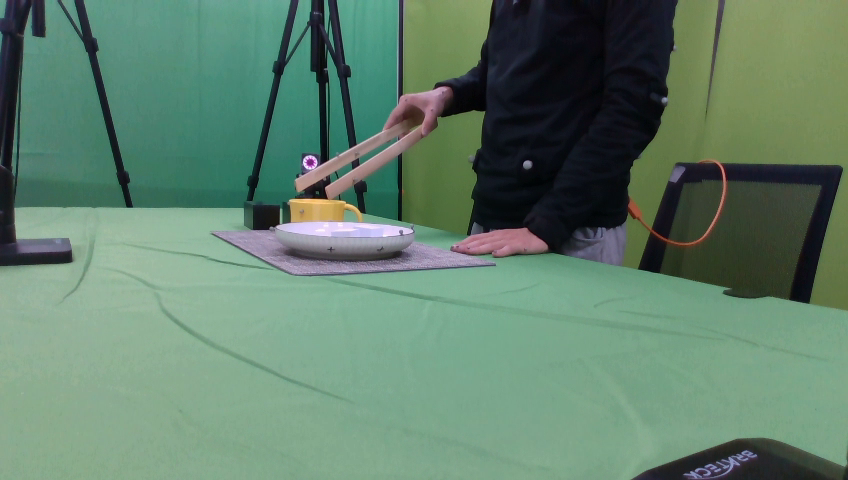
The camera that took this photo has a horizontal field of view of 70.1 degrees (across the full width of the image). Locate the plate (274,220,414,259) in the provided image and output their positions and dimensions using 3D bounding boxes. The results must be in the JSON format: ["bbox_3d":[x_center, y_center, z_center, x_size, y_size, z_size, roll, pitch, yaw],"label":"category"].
[{"bbox_3d":[-0.118,-0.001,0.903,0.208,0.039,0.207,3,7,0],"label":"plate"}]

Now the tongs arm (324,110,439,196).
[{"bbox_3d":[-0.067,-0.176,1.167,0.028,0.028,0.388,4,31,34],"label":"tongs arm"}]

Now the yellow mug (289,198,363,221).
[{"bbox_3d":[-0.174,-0.039,1.072,0.131,0.064,0.100,3,7,0],"label":"yellow mug"}]

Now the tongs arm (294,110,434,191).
[{"bbox_3d":[-0.103,-0.183,1.192,0.050,0.026,0.386,9,33,34],"label":"tongs arm"}]
